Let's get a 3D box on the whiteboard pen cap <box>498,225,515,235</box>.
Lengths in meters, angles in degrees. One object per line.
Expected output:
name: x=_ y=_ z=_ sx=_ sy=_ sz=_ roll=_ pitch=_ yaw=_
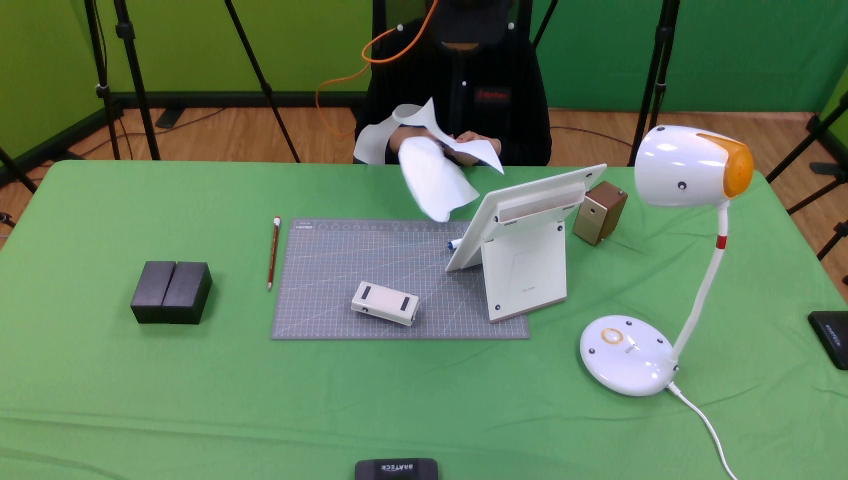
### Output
whiteboard pen cap: x=0.166 y=-0.019 z=1.222 sx=0.033 sy=0.018 sz=0.018 roll=-14 pitch=49 yaw=-19

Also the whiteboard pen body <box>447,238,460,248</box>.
whiteboard pen body: x=0.112 y=-0.006 z=1.203 sx=0.141 sy=0.017 sz=0.017 roll=-14 pitch=49 yaw=-18

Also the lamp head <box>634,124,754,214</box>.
lamp head: x=0.351 y=-0.089 z=0.775 sx=0.112 sy=0.113 sz=0.122 roll=-30 pitch=30 yaw=-28

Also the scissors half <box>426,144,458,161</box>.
scissors half: x=0.039 y=-0.192 z=1.324 sx=0.013 sy=0.040 sz=0.174 roll=22 pitch=0 yaw=-22

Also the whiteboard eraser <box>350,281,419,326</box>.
whiteboard eraser: x=-0.069 y=0.113 z=1.065 sx=0.112 sy=0.042 sz=0.055 roll=14 pitch=46 yaw=9

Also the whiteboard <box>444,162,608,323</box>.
whiteboard: x=0.186 y=0.025 z=1.029 sx=0.217 sy=0.306 sz=0.143 roll=-14 pitch=68 yaw=-18

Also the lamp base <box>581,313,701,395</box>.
lamp base: x=0.361 y=0.144 z=0.972 sx=0.178 sy=0.181 sz=0.160 roll=34 pitch=53 yaw=23

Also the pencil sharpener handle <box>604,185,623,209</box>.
pencil sharpener handle: x=0.390 y=-0.091 z=1.235 sx=0.030 sy=0.068 sz=0.036 roll=-34 pitch=69 yaw=-31

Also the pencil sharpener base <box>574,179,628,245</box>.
pencil sharpener base: x=0.355 y=-0.057 z=1.217 sx=0.076 sy=0.107 sz=0.061 roll=-33 pitch=56 yaw=-31

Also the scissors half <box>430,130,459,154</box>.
scissors half: x=0.046 y=-0.209 z=1.321 sx=0.013 sy=0.040 sz=0.174 roll=16 pitch=16 yaw=-22

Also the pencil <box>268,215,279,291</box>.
pencil: x=-0.291 y=0.022 z=1.164 sx=0.012 sy=0.012 sz=0.192 roll=-2 pitch=48 yaw=-6
